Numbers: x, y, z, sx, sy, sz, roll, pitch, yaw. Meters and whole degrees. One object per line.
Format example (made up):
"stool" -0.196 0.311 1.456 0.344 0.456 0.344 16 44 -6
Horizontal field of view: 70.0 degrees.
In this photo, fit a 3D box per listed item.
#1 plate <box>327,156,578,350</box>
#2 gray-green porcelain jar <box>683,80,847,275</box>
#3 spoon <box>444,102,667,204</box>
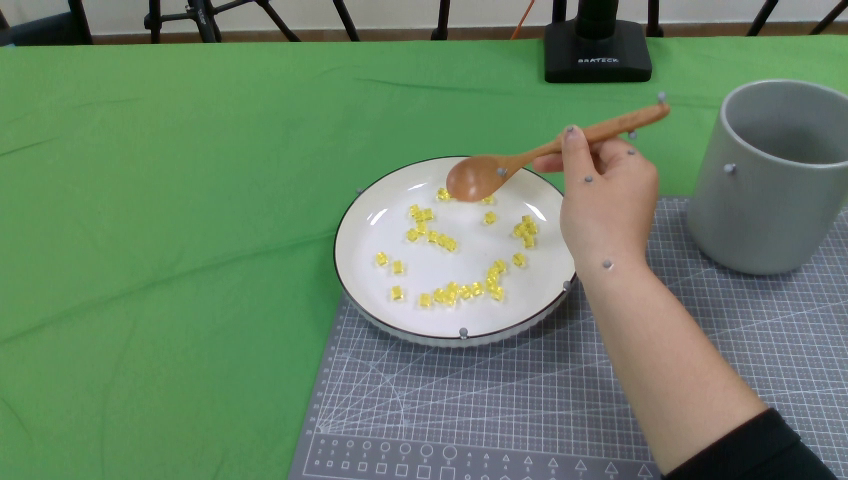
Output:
"plate" 0.023 0.009 0.516 0.207 0.039 0.205 -2 48 3
"gray-green porcelain jar" 0.269 -0.043 0.478 0.106 0.128 0.105 -3 47 4
"spoon" 0.093 -0.068 0.475 0.193 0.022 0.041 -18 69 41
